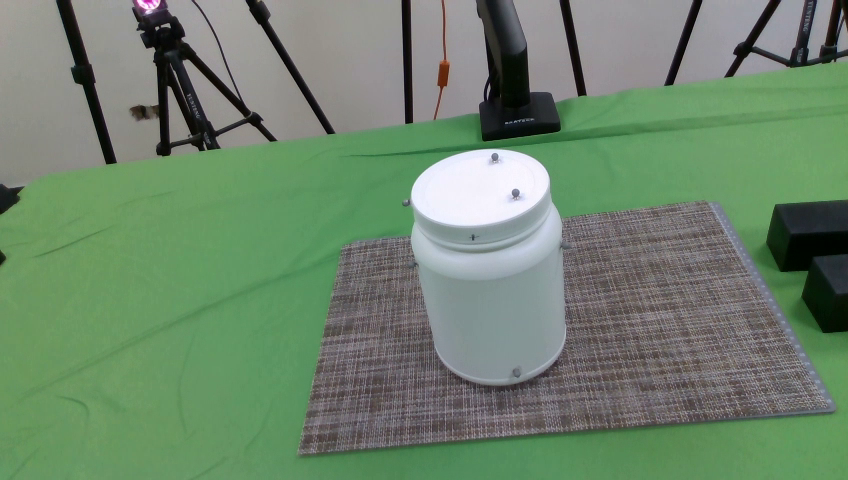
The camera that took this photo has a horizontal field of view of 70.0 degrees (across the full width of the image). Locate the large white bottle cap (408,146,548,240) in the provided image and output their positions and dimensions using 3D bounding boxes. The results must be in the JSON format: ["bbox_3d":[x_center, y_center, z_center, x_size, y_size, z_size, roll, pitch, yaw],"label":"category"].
[{"bbox_3d":[0.043,-0.041,0.497,0.115,0.018,0.113,-7,38,6],"label":"large white bottle cap"}]

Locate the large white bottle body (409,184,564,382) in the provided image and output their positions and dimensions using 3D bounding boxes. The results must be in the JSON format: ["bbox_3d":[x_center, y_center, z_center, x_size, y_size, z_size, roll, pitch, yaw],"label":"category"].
[{"bbox_3d":[0.058,0.024,0.550,0.130,0.186,0.129,-7,38,6],"label":"large white bottle body"}]
